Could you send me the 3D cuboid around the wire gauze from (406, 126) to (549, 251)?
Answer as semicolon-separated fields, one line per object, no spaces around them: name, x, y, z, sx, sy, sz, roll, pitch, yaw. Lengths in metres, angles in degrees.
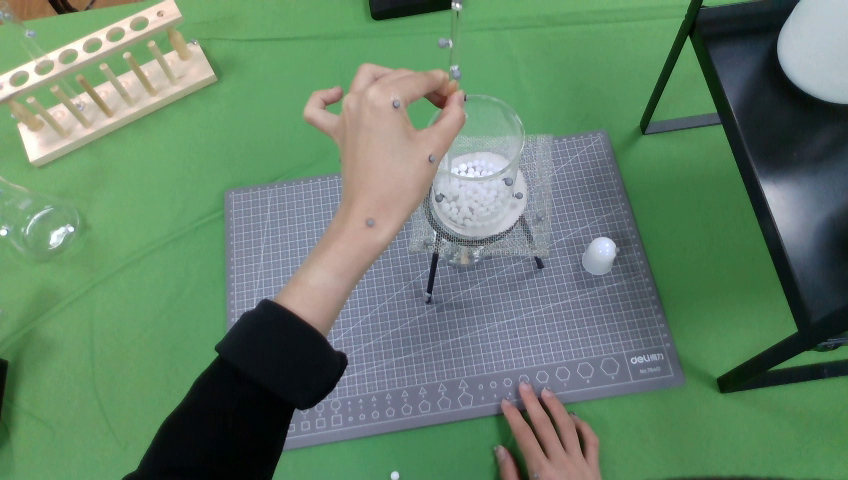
wire gauze;0.050;-0.047;0.537;0.121;0.011;0.124;4;66;3

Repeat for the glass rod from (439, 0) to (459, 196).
glass rod;0.017;-0.090;0.442;0.008;0.201;0.008;0;59;0

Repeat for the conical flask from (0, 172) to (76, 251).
conical flask;-0.441;-0.043;0.647;0.075;0.123;0.075;-1;67;4

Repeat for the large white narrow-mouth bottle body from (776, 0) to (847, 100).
large white narrow-mouth bottle body;0.339;-0.192;0.427;0.102;0.196;0.101;-2;67;5

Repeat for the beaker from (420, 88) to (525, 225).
beaker;0.037;-0.060;0.491;0.084;0.101;0.073;-31;69;-9

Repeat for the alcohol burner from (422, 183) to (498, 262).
alcohol burner;0.036;-0.023;0.611;0.078;0.120;0.077;-1;66;2

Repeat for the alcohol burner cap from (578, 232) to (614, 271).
alcohol burner cap;0.180;0.009;0.627;0.034;0.048;0.033;-1;67;3

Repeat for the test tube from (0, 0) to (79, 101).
test tube;-0.435;-0.211;0.682;0.017;0.151;0.017;-2;61;3

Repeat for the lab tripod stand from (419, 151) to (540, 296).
lab tripod stand;0.049;-0.016;0.596;0.148;0.132;0.147;-1;66;2

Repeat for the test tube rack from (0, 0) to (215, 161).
test tube rack;-0.389;-0.195;0.727;0.242;0.086;0.066;-28;68;-8
